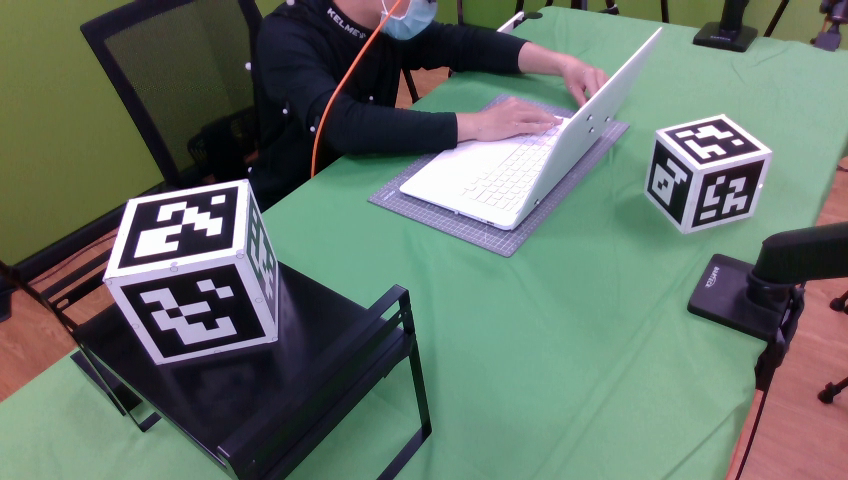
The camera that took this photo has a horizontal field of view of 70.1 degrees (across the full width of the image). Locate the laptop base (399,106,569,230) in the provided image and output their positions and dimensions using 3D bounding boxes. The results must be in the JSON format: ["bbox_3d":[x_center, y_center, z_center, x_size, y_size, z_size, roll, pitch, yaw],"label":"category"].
[{"bbox_3d":[0.149,-0.147,1.124,0.233,0.023,0.355,20,47,32],"label":"laptop base"}]

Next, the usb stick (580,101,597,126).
[{"bbox_3d":[0.324,-0.249,1.195,0.021,0.027,0.059,17,51,18],"label":"usb stick"}]

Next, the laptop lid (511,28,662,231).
[{"bbox_3d":[0.265,-0.179,0.973,0.013,0.242,0.357,36,53,14],"label":"laptop lid"}]
